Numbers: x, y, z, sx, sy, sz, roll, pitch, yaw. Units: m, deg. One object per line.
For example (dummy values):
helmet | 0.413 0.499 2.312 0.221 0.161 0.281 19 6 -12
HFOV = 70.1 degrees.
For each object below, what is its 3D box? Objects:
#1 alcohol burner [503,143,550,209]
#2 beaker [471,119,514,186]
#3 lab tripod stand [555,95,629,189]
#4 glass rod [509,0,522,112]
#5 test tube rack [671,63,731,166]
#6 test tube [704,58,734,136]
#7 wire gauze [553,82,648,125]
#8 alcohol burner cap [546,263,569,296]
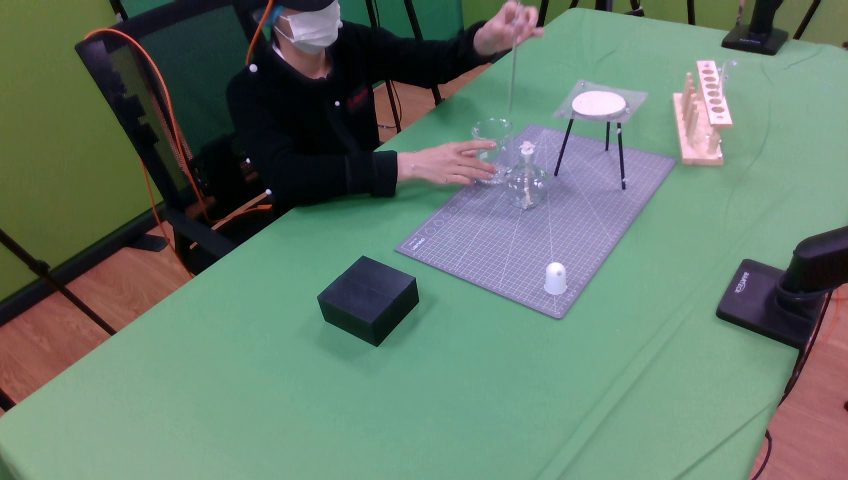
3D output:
alcohol burner | 0.171 -0.112 1.006 0.078 0.119 0.077 -3 41 3
beaker | 0.126 -0.155 1.077 0.084 0.101 0.073 -35 47 -29
lab tripod stand | 0.300 -0.174 1.045 0.148 0.132 0.147 -5 38 5
glass rod | 0.154 -0.316 1.014 0.008 0.200 0.008 2 20 0
test tube rack | 0.513 -0.241 1.132 0.066 0.085 0.242 4 41 14
test tube | 0.517 -0.247 1.062 0.017 0.151 0.017 -3 43 4
wire gauze | 0.293 -0.226 1.002 0.120 0.011 0.125 17 45 27
alcohol burner cap | 0.191 0.053 0.862 0.034 0.048 0.033 -5 40 4
